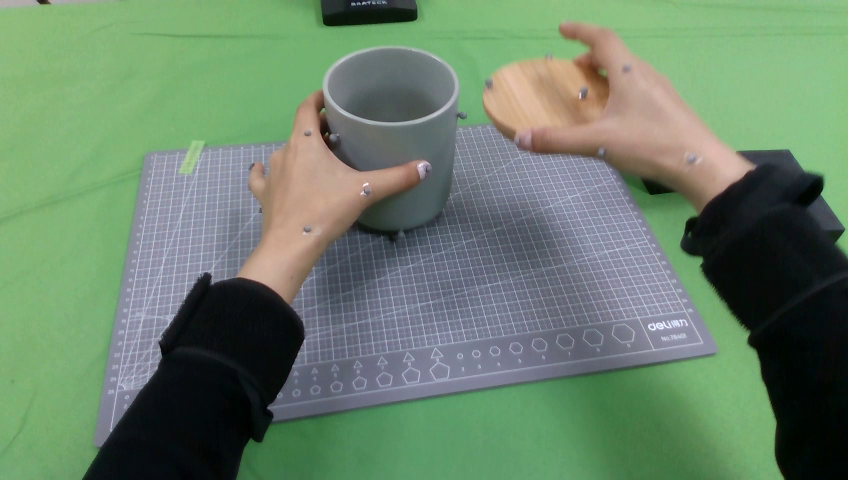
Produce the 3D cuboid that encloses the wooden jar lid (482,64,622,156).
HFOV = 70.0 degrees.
[{"bbox_3d":[0.099,-0.102,0.476,0.108,0.021,0.107,0,46,1],"label":"wooden jar lid"}]

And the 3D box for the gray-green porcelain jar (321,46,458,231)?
[{"bbox_3d":[-0.028,-0.079,0.511,0.106,0.127,0.105,1,49,-1],"label":"gray-green porcelain jar"}]
